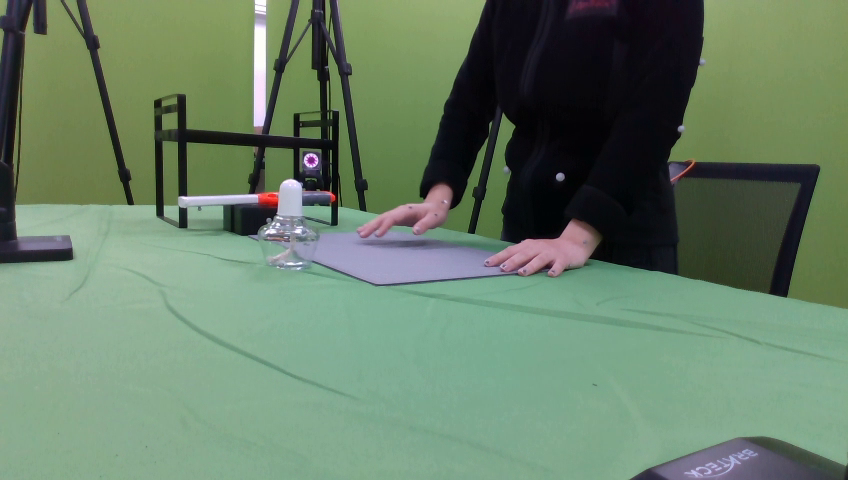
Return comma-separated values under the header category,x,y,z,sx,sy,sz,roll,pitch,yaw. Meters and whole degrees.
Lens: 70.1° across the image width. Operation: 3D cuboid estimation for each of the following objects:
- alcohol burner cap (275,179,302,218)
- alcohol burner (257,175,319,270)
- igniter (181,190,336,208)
category,x,y,z,sx,sy,sz,roll,pitch,yaw
alcohol burner cap,-0.169,-0.053,0.759,0.034,0.048,0.034,4,8,0
alcohol burner,-0.170,-0.023,0.762,0.078,0.119,0.078,4,8,0
igniter,-0.294,-0.076,1.103,0.278,0.025,0.057,-5,12,-33
